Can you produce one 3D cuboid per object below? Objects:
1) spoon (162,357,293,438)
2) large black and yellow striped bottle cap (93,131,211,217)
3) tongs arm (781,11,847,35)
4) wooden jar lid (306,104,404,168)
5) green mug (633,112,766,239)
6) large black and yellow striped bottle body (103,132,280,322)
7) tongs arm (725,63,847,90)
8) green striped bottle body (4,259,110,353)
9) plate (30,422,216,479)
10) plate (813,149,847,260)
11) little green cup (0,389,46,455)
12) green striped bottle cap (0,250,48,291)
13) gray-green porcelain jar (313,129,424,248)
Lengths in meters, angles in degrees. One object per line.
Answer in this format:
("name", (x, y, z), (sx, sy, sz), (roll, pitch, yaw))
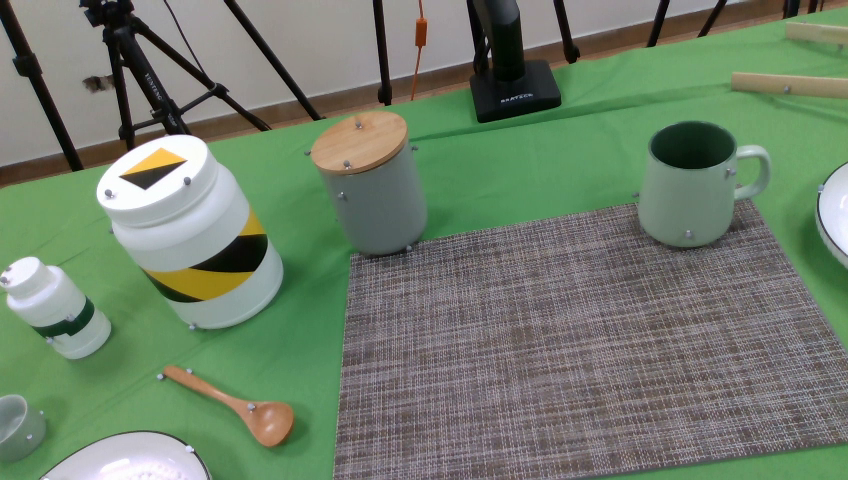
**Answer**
("spoon", (-0.202, 0.148, 0.606), (0.192, 0.022, 0.041), (16, 72, 28))
("large black and yellow striped bottle cap", (-0.268, -0.068, 0.599), (0.115, 0.019, 0.114), (-8, 44, 8))
("tongs arm", (0.589, -0.225, 0.694), (0.051, 0.027, 0.380), (-36, 40, -20))
("wooden jar lid", (-0.072, -0.109, 0.651), (0.108, 0.021, 0.107), (-11, 44, 11))
("green mug", (0.278, -0.066, 0.611), (0.125, 0.106, 0.091), (-10, 45, 6))
("large black and yellow striped bottle body", (-0.250, -0.012, 0.659), (0.130, 0.186, 0.129), (-8, 46, 9))
("tongs arm", (0.534, -0.177, 0.665), (0.384, 0.028, 0.028), (17, 47, 40))
("green striped bottle body", (-0.412, 0.068, 0.674), (0.063, 0.120, 0.062), (-8, 45, 9))
("plate", (-0.269, 0.257, 0.510), (0.209, 0.038, 0.207), (-8, 45, 8))
("plate", (0.478, -0.020, 0.562), (0.207, 0.039, 0.205), (-8, 45, 9))
("little green cup", (-0.425, 0.188, 0.621), (0.061, 0.039, 0.061), (-8, 45, 8))
("green striped bottle cap", (-0.423, 0.032, 0.638), (0.044, 0.020, 0.044), (-7, 47, 7))
("gray-green porcelain jar", (-0.059, -0.063, 0.692), (0.106, 0.128, 0.105), (-8, 42, 8))
